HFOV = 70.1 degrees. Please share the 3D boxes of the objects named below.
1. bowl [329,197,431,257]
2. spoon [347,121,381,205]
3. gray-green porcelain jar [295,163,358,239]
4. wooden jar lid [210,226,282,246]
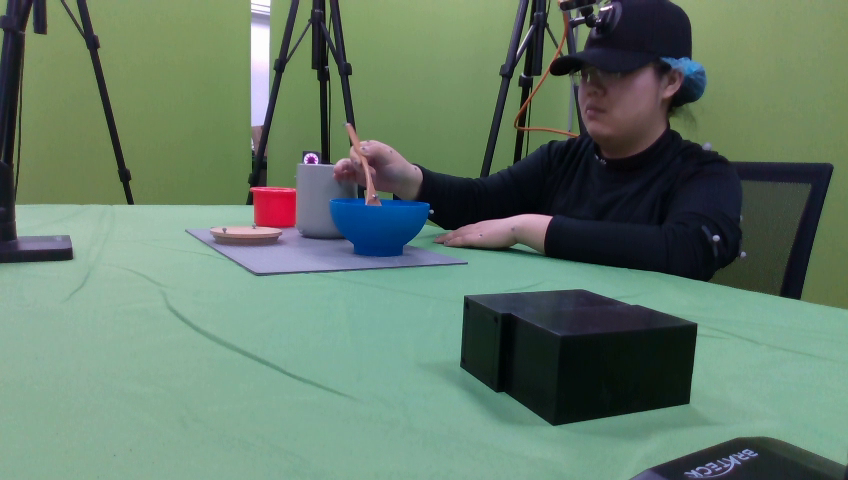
[{"bbox_3d":[-0.066,-0.019,0.894,0.151,0.077,0.151,3,7,0],"label":"bowl"},{"bbox_3d":[-0.088,-0.102,0.924,0.042,0.193,0.021,5,-27,-45],"label":"spoon"},{"bbox_3d":[-0.170,-0.069,1.054,0.106,0.126,0.106,3,8,0],"label":"gray-green porcelain jar"},{"bbox_3d":[-0.279,-0.007,0.951,0.108,0.020,0.108,2,8,0],"label":"wooden jar lid"}]
